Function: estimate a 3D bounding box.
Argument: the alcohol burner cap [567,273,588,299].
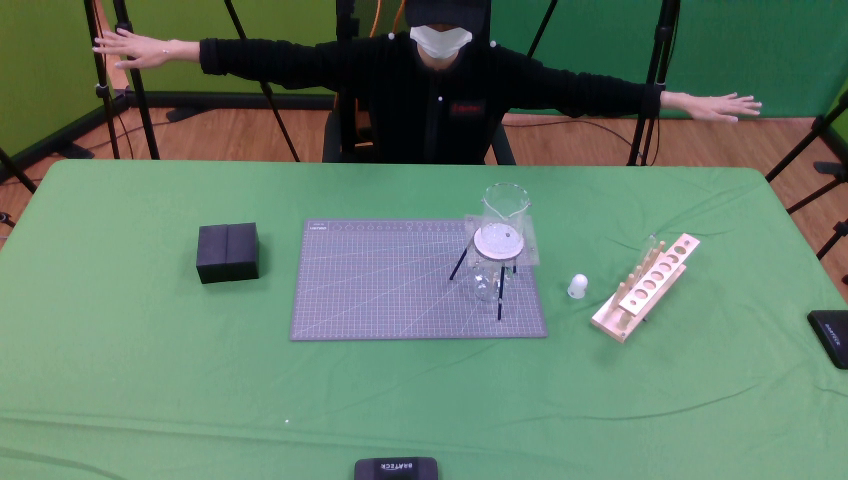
[{"bbox_3d":[0.287,0.083,1.125,0.034,0.048,0.033,2,45,-1],"label":"alcohol burner cap"}]

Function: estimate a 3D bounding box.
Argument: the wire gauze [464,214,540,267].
[{"bbox_3d":[0.131,-0.001,1.034,0.121,0.011,0.124,1,44,-2],"label":"wire gauze"}]

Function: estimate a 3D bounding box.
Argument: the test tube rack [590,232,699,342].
[{"bbox_3d":[0.407,0.074,1.112,0.066,0.085,0.242,35,53,26],"label":"test tube rack"}]

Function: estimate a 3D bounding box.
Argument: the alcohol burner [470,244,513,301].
[{"bbox_3d":[0.122,0.054,1.087,0.078,0.120,0.077,1,45,-1],"label":"alcohol burner"}]

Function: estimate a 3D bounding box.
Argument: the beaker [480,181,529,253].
[{"bbox_3d":[0.130,-0.033,0.998,0.074,0.101,0.083,5,47,4],"label":"beaker"}]

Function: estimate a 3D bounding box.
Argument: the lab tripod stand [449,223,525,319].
[{"bbox_3d":[0.120,0.046,1.080,0.148,0.132,0.147,1,47,-1],"label":"lab tripod stand"}]

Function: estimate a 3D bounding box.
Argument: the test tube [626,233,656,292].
[{"bbox_3d":[0.384,0.042,1.079,0.017,0.151,0.017,1,47,-1],"label":"test tube"}]
